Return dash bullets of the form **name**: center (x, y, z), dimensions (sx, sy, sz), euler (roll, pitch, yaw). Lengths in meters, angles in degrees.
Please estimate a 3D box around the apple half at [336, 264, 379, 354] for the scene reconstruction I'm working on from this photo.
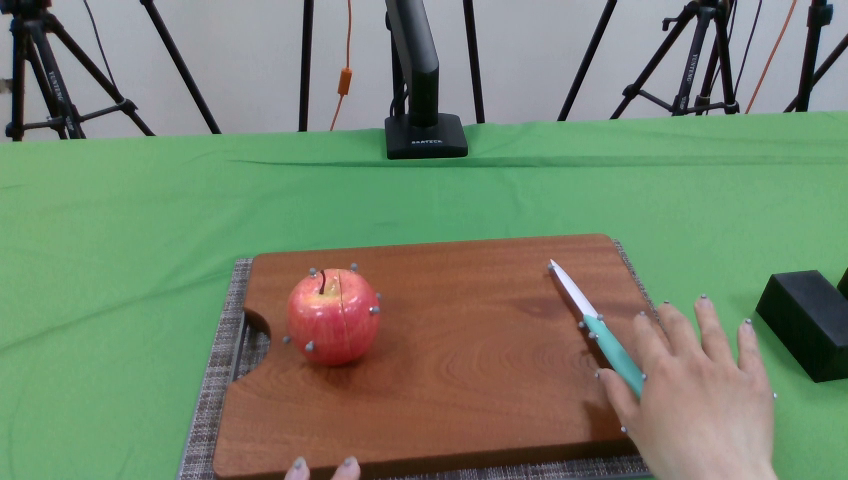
- **apple half**: center (-0.056, 0.060, 0.537), dimensions (0.033, 0.082, 0.080), euler (-10, 40, -7)

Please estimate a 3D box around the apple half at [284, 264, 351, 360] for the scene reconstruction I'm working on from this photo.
- **apple half**: center (-0.094, 0.066, 0.531), dimensions (0.053, 0.075, 0.080), euler (-11, 44, -6)

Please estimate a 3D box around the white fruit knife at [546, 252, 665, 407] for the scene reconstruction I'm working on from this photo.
- **white fruit knife**: center (0.161, 0.074, 0.573), dimensions (0.027, 0.016, 0.205), euler (17, 28, -29)
